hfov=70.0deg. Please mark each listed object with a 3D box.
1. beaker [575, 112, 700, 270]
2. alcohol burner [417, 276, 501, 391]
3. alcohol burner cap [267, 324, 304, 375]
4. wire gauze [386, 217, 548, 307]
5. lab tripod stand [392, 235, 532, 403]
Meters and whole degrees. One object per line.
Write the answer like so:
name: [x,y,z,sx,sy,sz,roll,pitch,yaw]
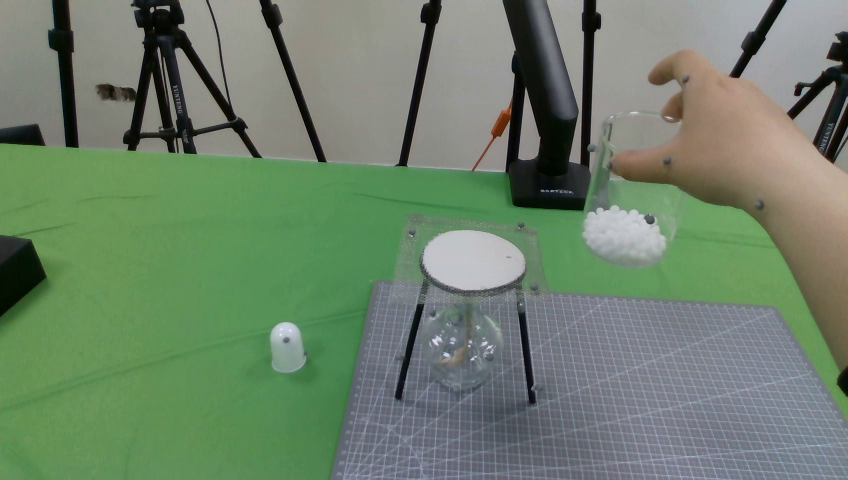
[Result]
beaker: [0.156,-0.033,0.457,0.074,0.101,0.083,9,39,10]
alcohol burner: [0.033,0.079,0.546,0.078,0.120,0.077,3,36,-2]
alcohol burner cap: [-0.132,0.100,0.572,0.034,0.048,0.033,2,36,-1]
wire gauze: [0.036,0.017,0.499,0.121,0.011,0.124,3,33,3]
lab tripod stand: [0.035,0.070,0.542,0.148,0.132,0.147,1,33,0]
